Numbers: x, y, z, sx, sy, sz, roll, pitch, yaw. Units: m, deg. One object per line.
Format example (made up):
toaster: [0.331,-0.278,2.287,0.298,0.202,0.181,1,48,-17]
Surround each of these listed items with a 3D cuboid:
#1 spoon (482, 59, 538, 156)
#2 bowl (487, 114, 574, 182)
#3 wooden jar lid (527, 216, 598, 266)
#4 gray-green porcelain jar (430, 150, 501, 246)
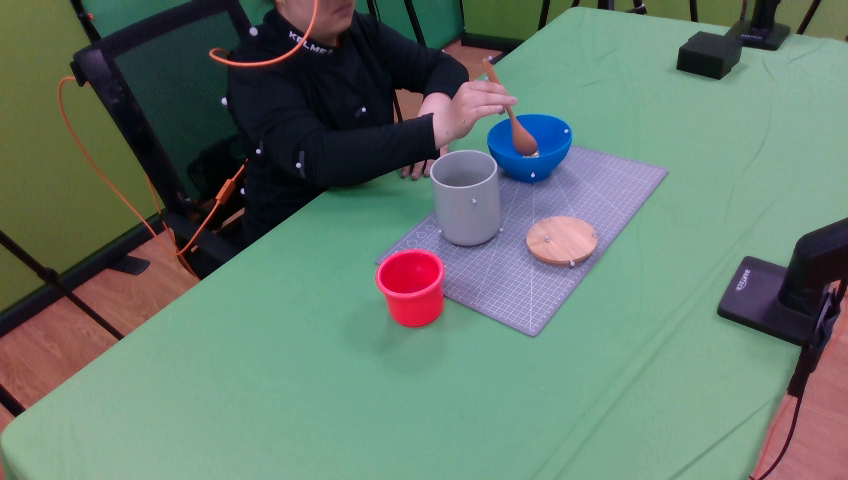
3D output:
spoon: [0.141,-0.218,1.012,0.041,0.195,0.021,-16,31,30]
bowl: [0.190,-0.156,1.085,0.151,0.077,0.150,-6,40,5]
wooden jar lid: [0.214,0.003,0.937,0.108,0.021,0.108,-4,40,4]
gray-green porcelain jar: [0.069,-0.062,0.959,0.106,0.127,0.105,-5,40,5]
